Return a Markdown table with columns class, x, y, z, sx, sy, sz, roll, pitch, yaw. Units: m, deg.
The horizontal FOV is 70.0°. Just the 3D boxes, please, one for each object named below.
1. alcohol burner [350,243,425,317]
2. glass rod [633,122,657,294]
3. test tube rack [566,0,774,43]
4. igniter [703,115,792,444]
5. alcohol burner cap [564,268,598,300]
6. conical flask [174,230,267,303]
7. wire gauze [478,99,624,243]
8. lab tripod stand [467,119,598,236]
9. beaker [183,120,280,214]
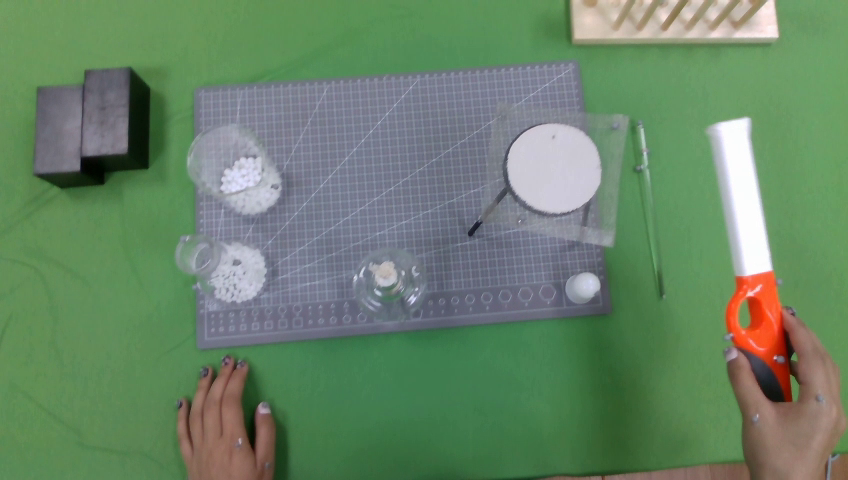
| class | x | y | z | sx | sy | sz | roll | pitch | yaw |
| --- | --- | --- | --- | --- | --- | --- | --- | --- | --- |
| alcohol burner | -0.038 | 0.038 | 0.611 | 0.078 | 0.119 | 0.077 | 0 | 79 | 2 |
| glass rod | 0.250 | -0.038 | 0.685 | 0.008 | 0.008 | 0.199 | -3 | 82 | -1 |
| test tube rack | 0.293 | -0.279 | 0.691 | 0.242 | 0.085 | 0.066 | -1 | 79 | -1 |
| igniter | 0.273 | 0.036 | 0.510 | 0.057 | 0.025 | 0.276 | -11 | 94 | -8 |
| alcohol burner cap | 0.170 | 0.045 | 0.648 | 0.034 | 0.048 | 0.033 | 0 | 78 | 0 |
| conical flask | -0.208 | 0.021 | 0.607 | 0.075 | 0.122 | 0.075 | 0 | 79 | 0 |
| wire gauze | 0.117 | -0.066 | 0.554 | 0.125 | 0.011 | 0.121 | 10 | 81 | 2 |
| lab tripod stand | 0.113 | -0.054 | 0.620 | 0.148 | 0.132 | 0.148 | 0 | 81 | 0 |
| beaker | -0.193 | -0.070 | 0.636 | 0.084 | 0.100 | 0.074 | 31 | 81 | 5 |
